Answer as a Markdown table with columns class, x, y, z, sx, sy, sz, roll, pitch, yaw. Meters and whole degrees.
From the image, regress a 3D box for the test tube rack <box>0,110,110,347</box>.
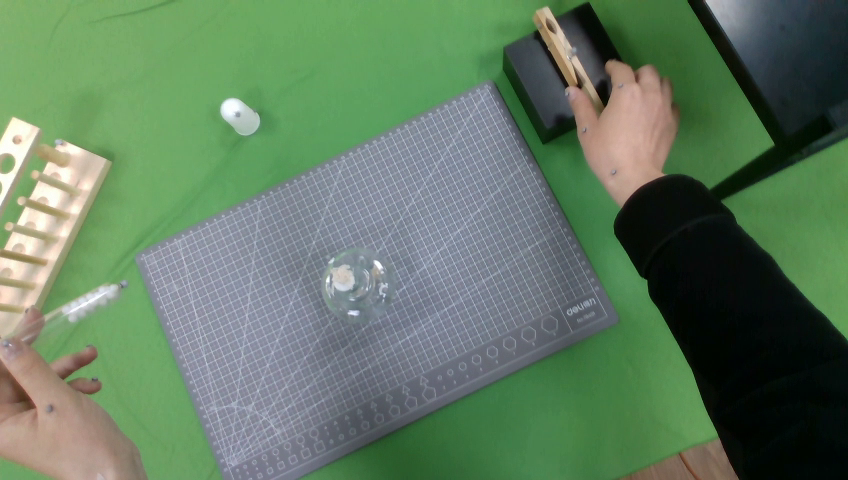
| class | x | y | z | sx | sy | sz | roll | pitch | yaw |
| --- | --- | --- | --- | --- | --- | --- | --- | --- | --- |
| test tube rack | -0.447 | -0.008 | 0.657 | 0.066 | 0.085 | 0.242 | 23 | 85 | 8 |

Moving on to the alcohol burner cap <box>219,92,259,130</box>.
| class | x | y | z | sx | sy | sz | roll | pitch | yaw |
| --- | --- | --- | --- | --- | --- | --- | --- | --- | --- |
| alcohol burner cap | -0.209 | -0.148 | 0.677 | 0.034 | 0.048 | 0.033 | -2 | 78 | 8 |

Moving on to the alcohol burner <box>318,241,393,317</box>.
| class | x | y | z | sx | sy | sz | roll | pitch | yaw |
| --- | --- | --- | --- | --- | --- | --- | --- | --- | --- |
| alcohol burner | -0.072 | 0.037 | 0.604 | 0.078 | 0.119 | 0.077 | -1 | 81 | 7 |

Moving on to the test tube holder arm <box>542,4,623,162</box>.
| class | x | y | z | sx | sy | sz | roll | pitch | yaw |
| --- | --- | --- | --- | --- | --- | --- | --- | --- | --- |
| test tube holder arm | 0.157 | -0.160 | 0.612 | 0.013 | 0.015 | 0.177 | -23 | 81 | -15 |

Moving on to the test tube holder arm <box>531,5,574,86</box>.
| class | x | y | z | sx | sy | sz | roll | pitch | yaw |
| --- | --- | --- | --- | --- | --- | --- | --- | --- | --- |
| test tube holder arm | 0.133 | -0.198 | 0.617 | 0.010 | 0.015 | 0.087 | -23 | 81 | -15 |

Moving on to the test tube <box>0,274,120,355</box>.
| class | x | y | z | sx | sy | sz | roll | pitch | yaw |
| --- | --- | --- | --- | --- | --- | --- | --- | --- | --- |
| test tube | -0.274 | 0.063 | 0.407 | 0.017 | 0.017 | 0.150 | 42 | 44 | 9 |
